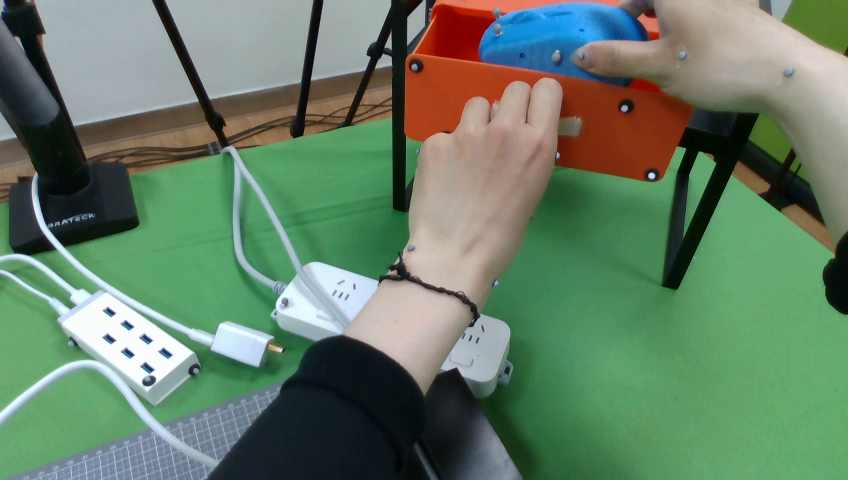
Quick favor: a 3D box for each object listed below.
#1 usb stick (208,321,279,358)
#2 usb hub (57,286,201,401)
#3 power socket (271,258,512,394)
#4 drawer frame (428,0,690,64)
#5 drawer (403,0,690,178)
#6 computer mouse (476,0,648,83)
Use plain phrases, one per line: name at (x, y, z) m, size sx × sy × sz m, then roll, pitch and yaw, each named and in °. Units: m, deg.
usb stick at (-0.154, 0.088, 0.527) m, size 0.059 × 0.021 × 0.027 m, roll 13°, pitch 85°, yaw -10°
usb hub at (-0.257, 0.087, 0.526) m, size 0.124 × 0.025 × 0.049 m, roll 26°, pitch 49°, yaw 22°
power socket at (-0.029, 0.074, 0.547) m, size 0.226 × 0.033 × 0.072 m, roll 16°, pitch 45°, yaw 14°
drawer frame at (0.120, -0.214, 0.558) m, size 0.201 × 0.083 × 0.212 m, roll 9°, pitch 44°, yaw 6°
drawer at (0.102, -0.154, 0.496) m, size 0.194 × 0.074 × 0.210 m, roll 11°, pitch 45°, yaw 8°
computer mouse at (0.097, -0.142, 0.426) m, size 0.116 × 0.041 × 0.062 m, roll 16°, pitch 50°, yaw 21°
